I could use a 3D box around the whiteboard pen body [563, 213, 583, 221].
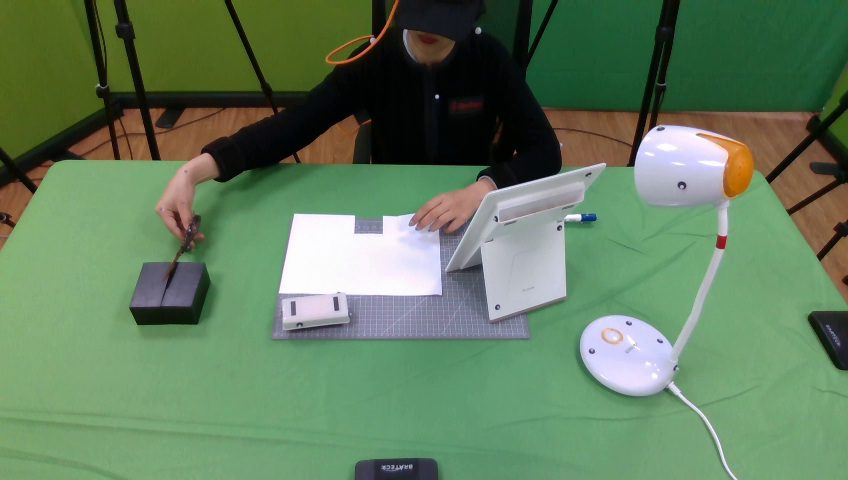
[{"bbox_3d":[0.283,-0.047,1.257,0.141,0.017,0.017,-1,46,-2],"label":"whiteboard pen body"}]

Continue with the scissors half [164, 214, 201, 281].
[{"bbox_3d":[-0.435,0.011,1.092,0.013,0.040,0.174,22,42,-15],"label":"scissors half"}]

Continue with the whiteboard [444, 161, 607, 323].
[{"bbox_3d":[0.186,0.025,1.029,0.217,0.306,0.143,-14,68,-18],"label":"whiteboard"}]

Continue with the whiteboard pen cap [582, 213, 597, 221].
[{"bbox_3d":[0.342,-0.048,1.260,0.033,0.018,0.018,-3,46,-3],"label":"whiteboard pen cap"}]

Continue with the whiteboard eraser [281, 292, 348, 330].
[{"bbox_3d":[-0.189,0.124,1.045,0.113,0.042,0.055,-6,46,-10],"label":"whiteboard eraser"}]

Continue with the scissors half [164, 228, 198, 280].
[{"bbox_3d":[-0.443,0.026,1.103,0.013,0.040,0.174,17,25,-11],"label":"scissors half"}]

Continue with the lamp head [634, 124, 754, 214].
[{"bbox_3d":[0.351,-0.089,0.776,0.112,0.113,0.122,-30,30,-28],"label":"lamp head"}]

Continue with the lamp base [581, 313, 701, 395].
[{"bbox_3d":[0.361,0.144,0.973,0.178,0.181,0.160,34,53,23],"label":"lamp base"}]
